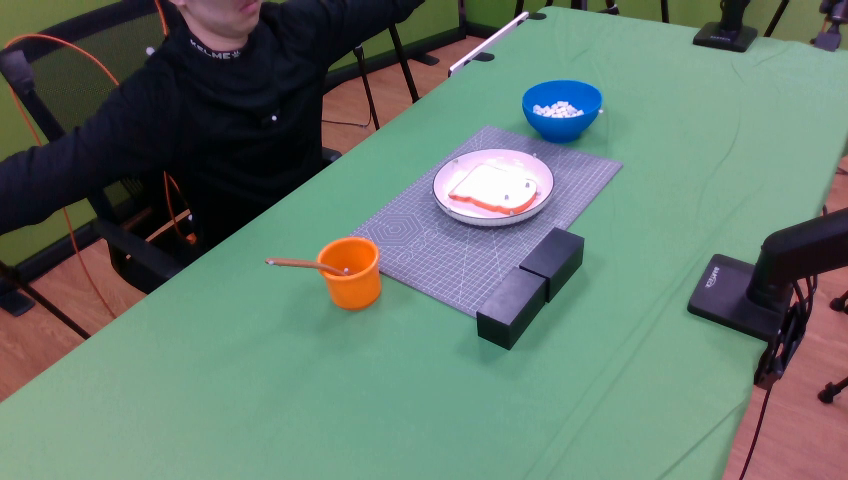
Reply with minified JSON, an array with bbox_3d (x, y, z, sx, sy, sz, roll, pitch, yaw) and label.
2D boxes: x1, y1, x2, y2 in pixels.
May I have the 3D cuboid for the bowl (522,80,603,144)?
[{"bbox_3d":[0.264,-0.239,1.166,0.151,0.077,0.150,-4,41,4],"label":"bowl"}]

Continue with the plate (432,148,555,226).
[{"bbox_3d":[0.119,-0.087,1.037,0.209,0.038,0.208,-4,40,4],"label":"plate"}]

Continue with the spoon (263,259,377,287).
[{"bbox_3d":[-0.140,0.042,0.843,0.041,0.195,0.021,35,101,41],"label":"spoon"}]

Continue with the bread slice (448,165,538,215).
[{"bbox_3d":[0.126,-0.085,1.037,0.133,0.018,0.107,17,45,27],"label":"bread slice"}]
